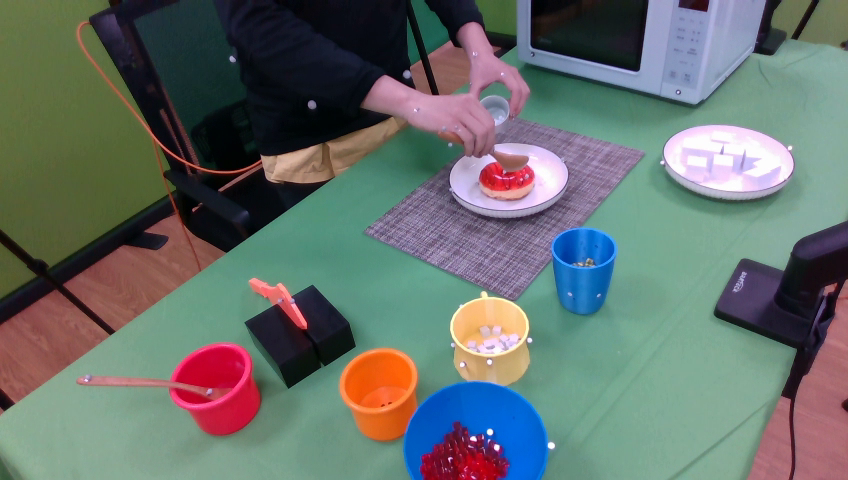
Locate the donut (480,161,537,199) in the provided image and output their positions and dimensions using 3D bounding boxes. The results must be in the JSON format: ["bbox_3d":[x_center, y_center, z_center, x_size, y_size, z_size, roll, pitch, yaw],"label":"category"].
[{"bbox_3d":[0.146,-0.107,1.042,0.099,0.048,0.098,-5,37,4],"label":"donut"}]

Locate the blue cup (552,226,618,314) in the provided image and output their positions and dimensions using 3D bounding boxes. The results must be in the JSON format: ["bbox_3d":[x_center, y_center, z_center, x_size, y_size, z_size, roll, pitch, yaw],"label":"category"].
[{"bbox_3d":[0.218,0.047,0.826,0.092,0.101,0.092,-6,40,5],"label":"blue cup"}]

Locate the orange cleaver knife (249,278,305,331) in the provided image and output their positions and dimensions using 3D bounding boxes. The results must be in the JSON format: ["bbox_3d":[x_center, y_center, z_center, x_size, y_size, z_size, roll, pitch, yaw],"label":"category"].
[{"bbox_3d":[-0.210,0.088,0.856,0.012,0.077,0.210,-28,15,-25],"label":"orange cleaver knife"}]

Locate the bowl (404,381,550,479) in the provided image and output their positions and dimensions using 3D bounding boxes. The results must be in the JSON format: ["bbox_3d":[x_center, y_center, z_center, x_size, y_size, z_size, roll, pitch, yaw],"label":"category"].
[{"bbox_3d":[0.058,0.235,0.645,0.151,0.077,0.150,-4,39,4],"label":"bowl"}]

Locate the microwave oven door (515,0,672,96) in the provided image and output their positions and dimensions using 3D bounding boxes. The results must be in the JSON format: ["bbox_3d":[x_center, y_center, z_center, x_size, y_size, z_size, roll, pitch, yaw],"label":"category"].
[{"bbox_3d":[0.344,-0.455,1.260,0.353,0.245,0.039,26,51,33],"label":"microwave oven door"}]

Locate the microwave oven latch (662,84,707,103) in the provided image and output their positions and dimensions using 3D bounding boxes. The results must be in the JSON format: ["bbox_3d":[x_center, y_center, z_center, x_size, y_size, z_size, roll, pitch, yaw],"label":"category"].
[{"bbox_3d":[0.517,-0.296,1.204,0.078,0.029,0.030,27,52,35],"label":"microwave oven latch"}]

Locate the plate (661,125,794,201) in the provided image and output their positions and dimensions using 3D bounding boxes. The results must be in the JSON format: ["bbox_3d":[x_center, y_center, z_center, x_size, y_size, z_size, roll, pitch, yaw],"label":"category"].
[{"bbox_3d":[0.513,-0.128,1.035,0.207,0.039,0.206,-4,40,4],"label":"plate"}]

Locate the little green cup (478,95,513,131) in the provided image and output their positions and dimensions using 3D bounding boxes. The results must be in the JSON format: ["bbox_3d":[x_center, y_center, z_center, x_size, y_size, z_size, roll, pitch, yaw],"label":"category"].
[{"bbox_3d":[0.127,-0.224,1.078,0.061,0.039,0.061,-1,84,5],"label":"little green cup"}]

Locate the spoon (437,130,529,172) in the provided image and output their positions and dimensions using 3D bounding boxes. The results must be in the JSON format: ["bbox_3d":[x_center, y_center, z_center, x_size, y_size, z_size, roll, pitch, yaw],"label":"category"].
[{"bbox_3d":[0.089,-0.133,0.898,0.195,0.041,0.021,14,51,-39],"label":"spoon"}]

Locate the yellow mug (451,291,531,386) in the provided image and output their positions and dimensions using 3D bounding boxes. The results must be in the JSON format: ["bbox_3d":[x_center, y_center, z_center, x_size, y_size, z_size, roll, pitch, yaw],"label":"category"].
[{"bbox_3d":[0.085,0.120,0.786,0.100,0.064,0.130,-7,39,1],"label":"yellow mug"}]

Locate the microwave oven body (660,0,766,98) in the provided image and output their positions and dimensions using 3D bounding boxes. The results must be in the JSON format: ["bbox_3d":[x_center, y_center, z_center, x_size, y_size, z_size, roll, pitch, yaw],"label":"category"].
[{"bbox_3d":[0.473,-0.513,1.317,0.438,0.261,0.327,26,51,34],"label":"microwave oven body"}]

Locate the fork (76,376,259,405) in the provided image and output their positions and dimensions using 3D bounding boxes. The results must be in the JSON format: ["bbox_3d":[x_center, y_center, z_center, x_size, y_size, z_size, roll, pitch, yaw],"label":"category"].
[{"bbox_3d":[-0.295,0.176,0.716,0.209,0.018,0.028,19,26,-36],"label":"fork"}]

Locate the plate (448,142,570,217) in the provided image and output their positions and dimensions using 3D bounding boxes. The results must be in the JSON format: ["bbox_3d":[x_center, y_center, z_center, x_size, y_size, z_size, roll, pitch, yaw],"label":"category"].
[{"bbox_3d":[0.148,-0.101,1.053,0.209,0.038,0.208,-4,40,4],"label":"plate"}]
